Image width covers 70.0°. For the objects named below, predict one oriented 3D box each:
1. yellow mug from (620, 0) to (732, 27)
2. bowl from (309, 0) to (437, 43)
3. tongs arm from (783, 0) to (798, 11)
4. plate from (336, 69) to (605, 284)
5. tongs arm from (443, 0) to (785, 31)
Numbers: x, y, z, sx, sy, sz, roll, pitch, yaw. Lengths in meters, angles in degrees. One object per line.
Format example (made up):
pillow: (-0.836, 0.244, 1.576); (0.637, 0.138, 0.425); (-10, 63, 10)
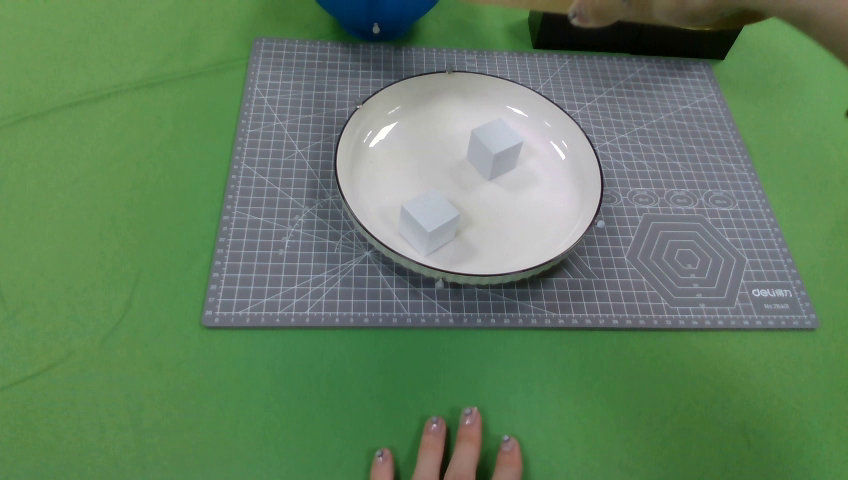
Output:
yellow mug: (0.234, -0.253, 0.561); (0.131, 0.064, 0.099); (-13, 58, -13)
bowl: (-0.050, -0.244, 0.577); (0.151, 0.077, 0.150); (3, 56, -4)
tongs arm: (0.081, -0.209, 0.423); (0.051, 0.027, 0.380); (-38, 42, -14)
plate: (0.036, -0.052, 0.480); (0.208, 0.039, 0.205); (3, 56, -4)
tongs arm: (0.041, -0.176, 0.411); (0.028, 0.028, 0.383); (-38, 41, -20)
